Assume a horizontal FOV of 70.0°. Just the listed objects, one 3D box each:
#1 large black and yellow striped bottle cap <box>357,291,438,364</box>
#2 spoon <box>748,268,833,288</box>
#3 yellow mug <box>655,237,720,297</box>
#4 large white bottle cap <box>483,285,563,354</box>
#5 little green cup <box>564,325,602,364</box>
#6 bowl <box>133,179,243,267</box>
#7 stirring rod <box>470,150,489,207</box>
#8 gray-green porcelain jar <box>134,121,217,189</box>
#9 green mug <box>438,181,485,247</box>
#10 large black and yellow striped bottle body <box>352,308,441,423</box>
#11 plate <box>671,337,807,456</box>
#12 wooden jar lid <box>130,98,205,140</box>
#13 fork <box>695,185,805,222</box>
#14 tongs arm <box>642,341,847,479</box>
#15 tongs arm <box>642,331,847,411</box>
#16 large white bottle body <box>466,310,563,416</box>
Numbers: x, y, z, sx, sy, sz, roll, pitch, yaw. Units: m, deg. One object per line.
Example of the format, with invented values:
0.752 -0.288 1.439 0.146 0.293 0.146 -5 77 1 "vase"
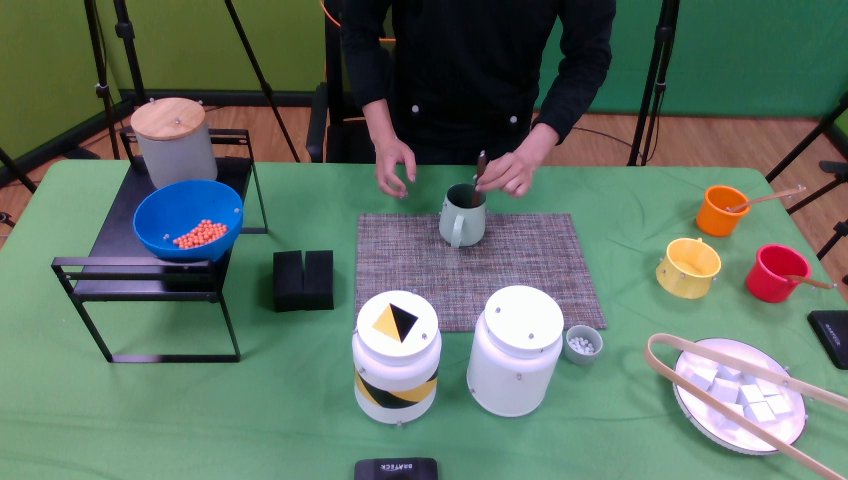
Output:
-0.037 0.121 0.851 0.115 0.019 0.114 1 46 -1 "large black and yellow striped bottle cap"
0.660 0.068 1.098 0.041 0.193 0.021 -4 91 -6 "spoon"
0.509 0.041 1.167 0.099 0.064 0.130 24 48 18 "yellow mug"
0.142 0.112 0.871 0.115 0.018 0.114 3 46 -2 "large white bottle cap"
0.269 0.180 1.036 0.061 0.039 0.061 2 45 -2 "little green cup"
-0.339 -0.013 0.895 0.151 0.077 0.150 2 46 -2 "bowl"
0.098 -0.094 1.108 0.014 0.177 0.006 -7 49 -13 "stirring rod"
-0.397 -0.141 0.980 0.106 0.127 0.105 2 47 -2 "gray-green porcelain jar"
0.071 -0.039 1.177 0.092 0.105 0.124 12 47 7 "green mug"
-0.042 0.177 0.913 0.131 0.185 0.130 2 46 -2 "large black and yellow striped bottle body"
0.504 0.254 0.984 0.208 0.039 0.206 2 46 -2 "plate"
-0.393 -0.183 0.934 0.108 0.021 0.107 2 44 -2 "wooden jar lid"
0.657 -0.074 1.230 0.207 0.019 0.028 -23 34 37 "fork"
0.504 0.278 0.917 0.386 0.028 0.028 34 58 22 "tongs arm"
0.546 0.227 0.968 0.384 0.026 0.050 22 52 13 "tongs arm"
0.138 0.171 0.932 0.131 0.185 0.130 2 46 -2 "large white bottle body"
